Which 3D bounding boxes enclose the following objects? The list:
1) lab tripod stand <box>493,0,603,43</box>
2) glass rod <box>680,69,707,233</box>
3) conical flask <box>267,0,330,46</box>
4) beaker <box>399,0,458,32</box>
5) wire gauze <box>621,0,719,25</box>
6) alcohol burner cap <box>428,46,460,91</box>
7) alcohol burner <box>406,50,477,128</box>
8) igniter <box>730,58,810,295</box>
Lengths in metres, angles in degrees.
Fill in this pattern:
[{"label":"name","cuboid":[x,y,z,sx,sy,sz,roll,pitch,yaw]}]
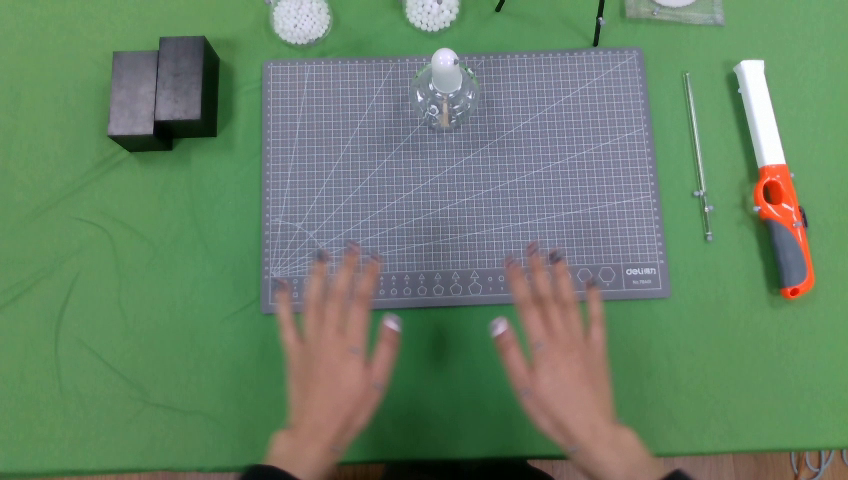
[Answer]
[{"label":"lab tripod stand","cuboid":[0.156,-0.303,0.672,0.148,0.132,0.148,0,81,1]},{"label":"glass rod","cuboid":[0.312,-0.106,0.699,0.008,0.008,0.199,-2,79,-1]},{"label":"conical flask","cuboid":[-0.150,-0.277,0.671,0.075,0.122,0.075,0,78,0]},{"label":"beaker","cuboid":[0.007,-0.293,0.687,0.084,0.100,0.073,-29,80,-6]},{"label":"wire gauze","cuboid":[0.299,-0.323,0.741,0.125,0.011,0.121,2,80,-2]},{"label":"alcohol burner cap","cuboid":[0.019,-0.178,0.618,0.034,0.048,0.033,-1,74,5]},{"label":"alcohol burner","cuboid":[0.020,-0.169,0.653,0.078,0.119,0.077,0,77,-1]},{"label":"igniter","cuboid":[0.390,-0.075,0.684,0.057,0.025,0.275,-4,79,-11]}]
